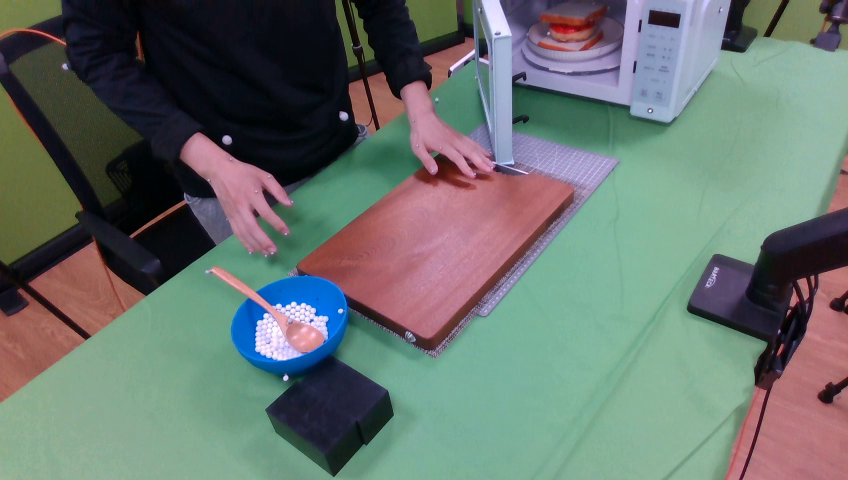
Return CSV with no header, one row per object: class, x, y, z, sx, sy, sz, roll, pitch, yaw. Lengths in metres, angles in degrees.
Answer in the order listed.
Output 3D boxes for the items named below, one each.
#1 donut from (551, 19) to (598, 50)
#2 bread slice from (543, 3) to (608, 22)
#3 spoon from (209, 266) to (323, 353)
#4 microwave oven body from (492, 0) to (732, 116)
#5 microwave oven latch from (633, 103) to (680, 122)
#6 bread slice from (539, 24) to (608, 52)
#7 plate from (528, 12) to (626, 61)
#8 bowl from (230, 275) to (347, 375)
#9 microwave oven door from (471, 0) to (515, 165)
donut,0.321,-0.442,1.294,0.099,0.048,0.098,-2,44,3
bread slice,0.325,-0.483,1.278,0.106,0.018,0.135,20,35,30
spoon,-0.213,0.088,0.806,0.193,0.021,0.042,37,55,11
microwave oven body,0.377,-0.462,1.267,0.438,0.261,0.327,21,49,30
microwave oven latch,0.443,-0.249,1.157,0.078,0.029,0.030,21,49,30
bread slice,0.336,-0.448,1.335,0.132,0.019,0.104,-26,43,-19
plate,0.334,-0.446,1.330,0.207,0.039,0.206,-6,43,6
bowl,-0.171,0.125,0.802,0.151,0.077,0.150,-4,40,4
microwave oven door,0.128,-0.341,1.153,0.039,0.245,0.354,-6,40,2
